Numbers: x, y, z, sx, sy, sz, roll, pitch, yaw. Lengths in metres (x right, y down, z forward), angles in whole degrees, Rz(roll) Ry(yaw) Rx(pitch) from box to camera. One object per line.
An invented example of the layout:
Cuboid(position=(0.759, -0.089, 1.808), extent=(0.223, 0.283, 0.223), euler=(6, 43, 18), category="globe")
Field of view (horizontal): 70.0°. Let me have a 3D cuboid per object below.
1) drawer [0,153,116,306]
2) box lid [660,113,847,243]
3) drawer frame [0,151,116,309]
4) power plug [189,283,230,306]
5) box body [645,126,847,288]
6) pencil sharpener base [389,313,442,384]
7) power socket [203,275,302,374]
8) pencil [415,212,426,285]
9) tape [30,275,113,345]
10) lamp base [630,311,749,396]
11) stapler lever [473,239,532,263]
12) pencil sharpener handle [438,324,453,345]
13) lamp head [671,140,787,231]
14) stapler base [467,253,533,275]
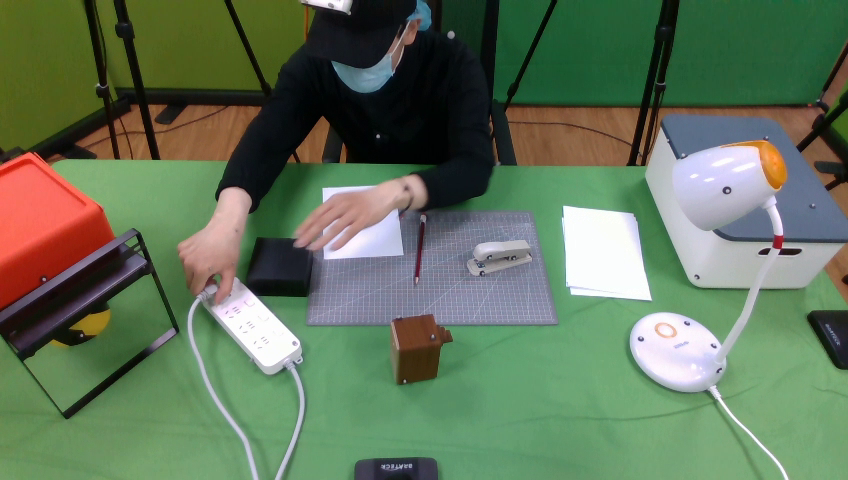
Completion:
Cuboid(position=(-0.601, -0.015, 0.880), extent=(0.193, 0.073, 0.211), euler=(32, 53, 23), category="drawer")
Cuboid(position=(0.628, -0.133, 1.170), extent=(0.263, 0.015, 0.369), euler=(1, 46, -3), category="box lid")
Cuboid(position=(-0.604, -0.013, 0.875), extent=(0.201, 0.083, 0.213), euler=(31, 52, 23), category="drawer frame")
Cuboid(position=(-0.368, 0.099, 1.036), extent=(0.072, 0.053, 0.035), euler=(-25, 55, -27), category="power plug")
Cuboid(position=(0.625, -0.080, 1.222), extent=(0.254, 0.161, 0.361), euler=(0, 46, -3), category="box body")
Cuboid(position=(-0.013, 0.175, 0.971), extent=(0.077, 0.107, 0.061), euler=(-8, 47, -11), category="pencil sharpener base")
Cuboid(position=(-0.297, 0.141, 1.034), extent=(0.072, 0.033, 0.225), euler=(-34, 58, -30), category="power socket")
Cuboid(position=(-0.008, 0.014, 1.190), extent=(0.012, 0.012, 0.193), euler=(5, 47, 1), category="pencil")
Cuboid(position=(-0.593, 0.117, 1.021), extent=(0.117, 0.053, 0.116), euler=(3, 46, -2), category="tape")
Cuboid(position=(0.447, 0.143, 0.983), extent=(0.161, 0.181, 0.178), euler=(-24, 55, -24), category="lamp base")
Cuboid(position=(0.150, 0.017, 1.155), extent=(0.118, 0.040, 0.026), euler=(-13, 49, -17), category="stapler lever")
Cuboid(position=(0.036, 0.155, 0.976), extent=(0.031, 0.068, 0.036), euler=(-8, 69, -11), category="pencil sharpener handle")
Cuboid(position=(0.415, -0.078, 0.811), extent=(0.113, 0.123, 0.112), euler=(12, 70, -37), category="lamp head")
Cuboid(position=(0.147, 0.034, 1.172), extent=(0.131, 0.024, 0.041), euler=(-12, 49, -17), category="stapler base")
